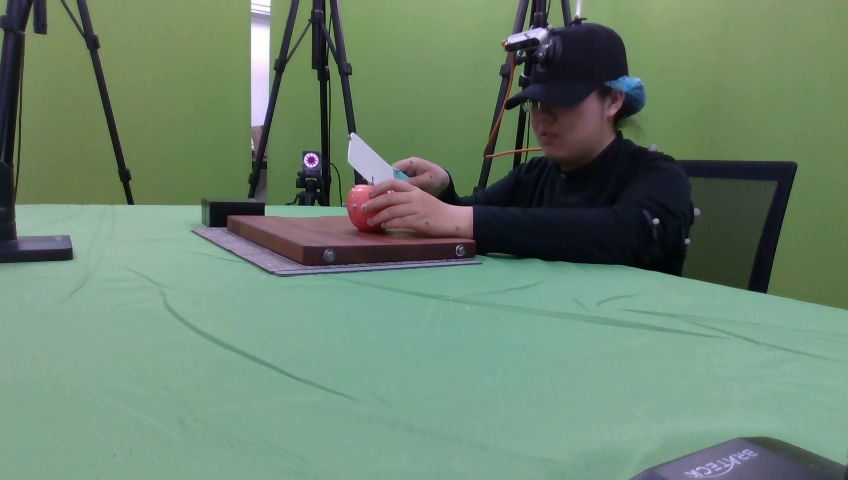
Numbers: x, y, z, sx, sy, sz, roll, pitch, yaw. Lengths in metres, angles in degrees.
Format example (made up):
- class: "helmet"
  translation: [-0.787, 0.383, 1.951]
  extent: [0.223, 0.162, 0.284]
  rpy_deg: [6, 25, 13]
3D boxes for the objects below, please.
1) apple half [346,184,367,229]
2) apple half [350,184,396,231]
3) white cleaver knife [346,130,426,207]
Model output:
- class: "apple half"
  translation: [-0.106, -0.055, 0.972]
  extent: [0.032, 0.081, 0.081]
  rpy_deg: [12, 11, 28]
- class: "apple half"
  translation: [-0.072, -0.050, 0.954]
  extent: [0.053, 0.074, 0.081]
  rpy_deg: [12, 7, 28]
- class: "white cleaver knife"
  translation: [-0.062, -0.103, 1.030]
  extent: [0.021, 0.066, 0.288]
  rpy_deg: [-3, -16, 24]
